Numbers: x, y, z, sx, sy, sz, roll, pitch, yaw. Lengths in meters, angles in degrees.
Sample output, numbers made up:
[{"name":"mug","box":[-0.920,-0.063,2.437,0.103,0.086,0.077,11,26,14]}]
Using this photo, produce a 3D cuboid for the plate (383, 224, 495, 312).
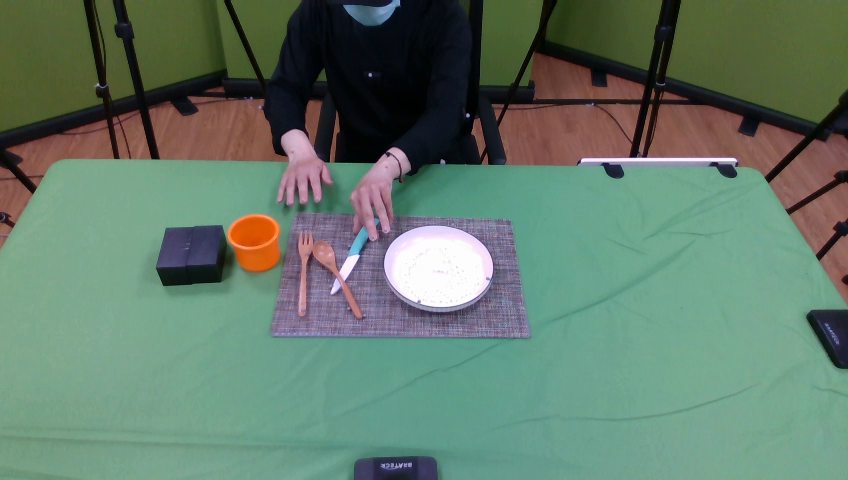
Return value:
[{"name":"plate","box":[0.026,0.055,1.128,0.209,0.038,0.208,2,46,-2]}]

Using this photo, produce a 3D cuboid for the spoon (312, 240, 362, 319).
[{"name":"spoon","box":[-0.157,0.071,1.110,0.042,0.022,0.192,-10,46,-31]}]

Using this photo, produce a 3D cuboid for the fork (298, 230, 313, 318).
[{"name":"fork","box":[-0.222,0.058,1.121,0.028,0.019,0.206,2,44,-10]}]

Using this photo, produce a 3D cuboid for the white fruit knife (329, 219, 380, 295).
[{"name":"white fruit knife","box":[-0.135,0.029,1.159,0.027,0.016,0.206,15,47,11]}]
